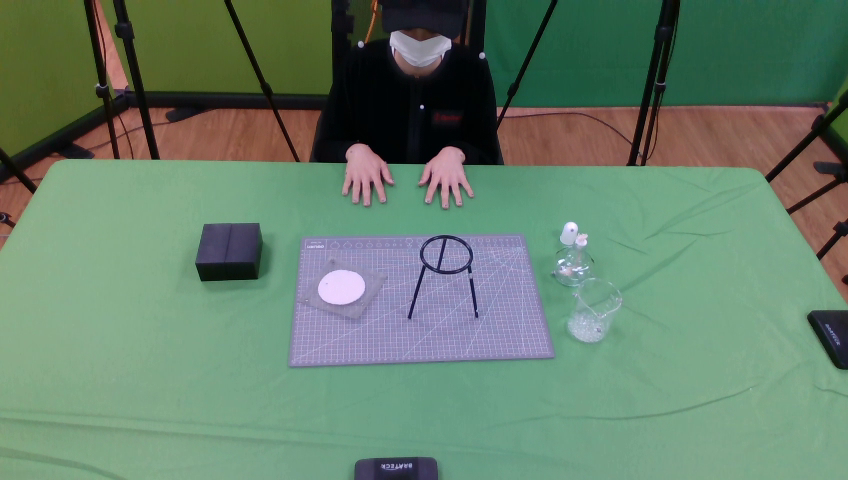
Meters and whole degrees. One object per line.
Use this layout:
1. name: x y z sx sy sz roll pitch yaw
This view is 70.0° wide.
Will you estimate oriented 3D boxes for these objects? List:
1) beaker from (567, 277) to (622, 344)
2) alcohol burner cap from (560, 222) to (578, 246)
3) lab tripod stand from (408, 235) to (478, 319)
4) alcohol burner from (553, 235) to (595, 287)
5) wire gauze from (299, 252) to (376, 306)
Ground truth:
1. beaker: 0.291 0.127 1.045 0.074 0.101 0.083 7 46 4
2. alcohol burner cap: 0.295 -0.015 1.223 0.034 0.048 0.033 2 47 -2
3. lab tripod stand: 0.032 0.065 1.057 0.148 0.132 0.147 1 45 -1
4. alcohol burner: 0.282 0.032 1.127 0.078 0.120 0.077 1 48 -1
5. wire gauze: -0.155 0.069 1.104 0.125 0.011 0.120 0 48 4
